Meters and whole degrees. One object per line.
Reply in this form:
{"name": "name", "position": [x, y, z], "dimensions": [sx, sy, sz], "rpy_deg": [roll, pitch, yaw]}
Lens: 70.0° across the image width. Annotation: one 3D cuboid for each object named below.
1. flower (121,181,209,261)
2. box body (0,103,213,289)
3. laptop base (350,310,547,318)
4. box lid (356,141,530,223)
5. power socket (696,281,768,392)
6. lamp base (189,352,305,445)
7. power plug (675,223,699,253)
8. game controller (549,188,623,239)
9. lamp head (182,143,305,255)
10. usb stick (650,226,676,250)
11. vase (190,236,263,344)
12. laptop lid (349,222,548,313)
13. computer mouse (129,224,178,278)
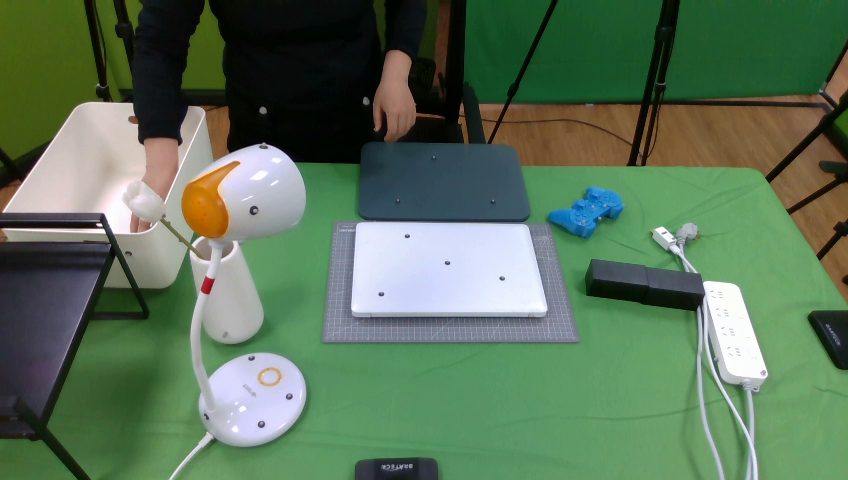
{"name": "flower", "position": [-0.329, 0.029, 0.905], "dimensions": [0.038, 0.364, 0.044], "rpy_deg": [-22, 58, -1]}
{"name": "box body", "position": [-0.563, -0.087, 1.140], "dimensions": [0.254, 0.161, 0.361], "rpy_deg": [2, 46, -3]}
{"name": "laptop base", "position": [0.041, 0.056, 1.149], "dimensions": [0.355, 0.023, 0.234], "rpy_deg": [0, 42, -4]}
{"name": "box lid", "position": [0.040, -0.132, 1.339], "dimensions": [0.372, 0.015, 0.261], "rpy_deg": [0, 46, -4]}
{"name": "power socket", "position": [0.543, 0.161, 1.077], "dimensions": [0.072, 0.033, 0.225], "rpy_deg": [6, 46, 2]}
{"name": "lamp base", "position": [-0.268, 0.196, 0.876], "dimensions": [0.160, 0.181, 0.179], "rpy_deg": [25, 52, 20]}
{"name": "power plug", "position": [0.537, 0.000, 1.243], "dimensions": [0.053, 0.035, 0.072], "rpy_deg": [19, 82, -17]}
{"name": "game controller", "position": [0.345, -0.065, 1.272], "dimensions": [0.155, 0.052, 0.096], "rpy_deg": [-31, 58, -29]}
{"name": "lamp head", "position": [-0.216, -0.044, 0.697], "dimensions": [0.112, 0.113, 0.123], "rpy_deg": [23, 31, 17]}
{"name": "usb stick", "position": [0.485, -0.008, 1.237], "dimensions": [0.021, 0.027, 0.059], "rpy_deg": [-23, 44, -12]}
{"name": "vase", "position": [-0.317, 0.081, 0.971], "dimensions": [0.098, 0.201, 0.097], "rpy_deg": [3, 47, -3]}
{"name": "laptop lid", "position": [0.042, 0.046, 1.142], "dimensions": [0.357, 0.013, 0.240], "rpy_deg": [2, 44, -3]}
{"name": "computer mouse", "position": [-0.500, 0.017, 1.120], "dimensions": [0.063, 0.041, 0.116], "rpy_deg": [3, 53, -3]}
